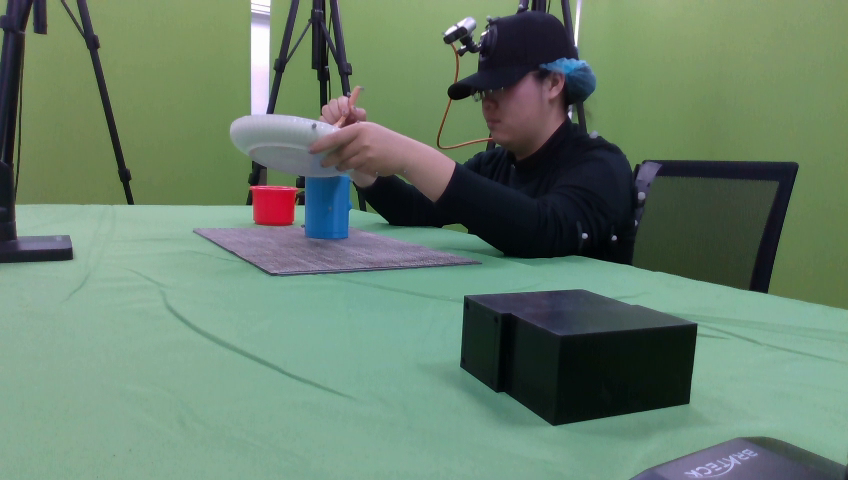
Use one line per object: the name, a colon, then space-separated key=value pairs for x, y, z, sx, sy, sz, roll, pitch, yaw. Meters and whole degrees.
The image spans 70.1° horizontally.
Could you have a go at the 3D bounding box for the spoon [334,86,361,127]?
spoon: x=-0.146 y=-0.217 z=1.072 sx=0.041 sy=0.022 sz=0.193 roll=-4 pitch=40 yaw=23

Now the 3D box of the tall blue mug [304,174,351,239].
tall blue mug: x=-0.178 y=-0.062 z=1.062 sx=0.078 sy=0.108 sz=0.106 roll=-5 pitch=10 yaw=-38

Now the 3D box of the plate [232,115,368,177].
plate: x=-0.193 y=-0.136 z=0.939 sx=0.208 sy=0.039 sz=0.208 roll=6 pitch=-10 yaw=1
